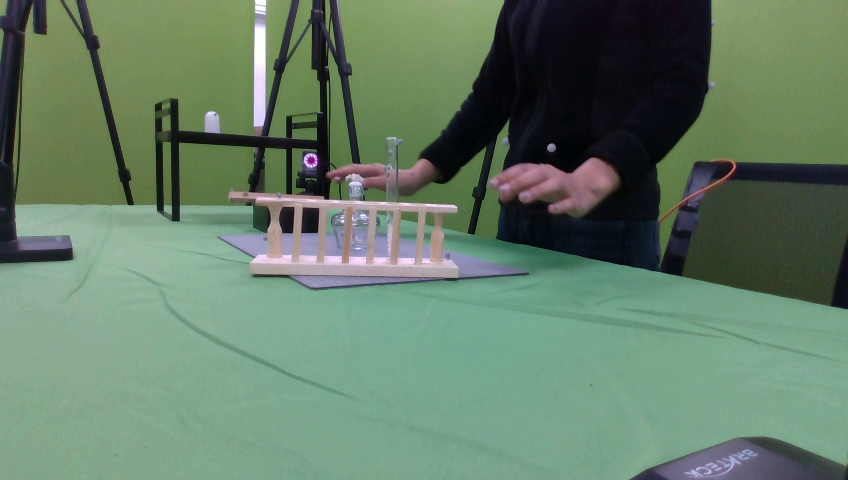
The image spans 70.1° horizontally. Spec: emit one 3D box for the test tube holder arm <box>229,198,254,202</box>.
[{"bbox_3d":[-0.320,-0.078,1.133,0.088,0.015,0.010,-1,-25,-27],"label":"test tube holder arm"}]

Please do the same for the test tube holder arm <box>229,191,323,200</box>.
[{"bbox_3d":[-0.278,-0.081,1.150,0.179,0.015,0.013,-1,-25,-29],"label":"test tube holder arm"}]

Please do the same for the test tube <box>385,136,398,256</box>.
[{"bbox_3d":[-0.040,-0.053,0.751,0.017,0.150,0.017,0,5,0],"label":"test tube"}]

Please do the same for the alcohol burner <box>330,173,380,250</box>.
[{"bbox_3d":[-0.108,-0.044,0.938,0.078,0.119,0.078,1,6,0],"label":"alcohol burner"}]

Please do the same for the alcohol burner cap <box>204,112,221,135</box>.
[{"bbox_3d":[-0.444,-0.245,1.270,0.034,0.048,0.034,4,8,0],"label":"alcohol burner cap"}]

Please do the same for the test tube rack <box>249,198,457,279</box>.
[{"bbox_3d":[-0.082,-0.003,0.733,0.243,0.085,0.066,2,8,-8],"label":"test tube rack"}]
